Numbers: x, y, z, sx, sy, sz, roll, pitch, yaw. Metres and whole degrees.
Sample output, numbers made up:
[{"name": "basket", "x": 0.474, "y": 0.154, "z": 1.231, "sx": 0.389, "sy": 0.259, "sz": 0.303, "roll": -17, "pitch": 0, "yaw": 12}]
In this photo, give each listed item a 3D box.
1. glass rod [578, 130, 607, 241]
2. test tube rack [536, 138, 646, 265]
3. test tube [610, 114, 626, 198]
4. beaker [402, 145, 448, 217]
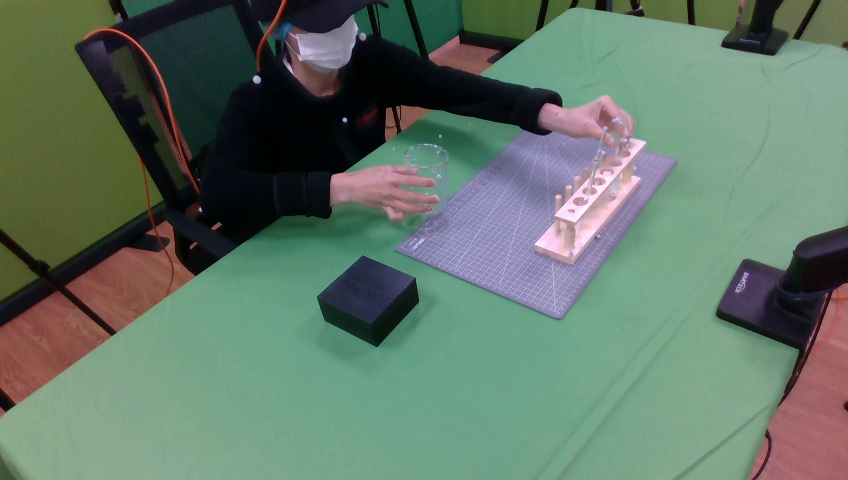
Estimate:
[{"name": "glass rod", "x": 0.240, "y": -0.072, "z": 0.866, "sx": 0.008, "sy": 0.200, "sz": 0.008, "roll": 0, "pitch": 44, "yaw": 1}, {"name": "test tube rack", "x": 0.268, "y": -0.071, "z": 0.964, "sx": 0.066, "sy": 0.085, "sz": 0.243, "roll": 23, "pitch": 49, "yaw": 32}, {"name": "test tube", "x": 0.304, "y": -0.128, "z": 0.948, "sx": 0.017, "sy": 0.151, "sz": 0.017, "roll": -6, "pitch": 40, "yaw": 5}, {"name": "beaker", "x": 0.004, "y": -0.096, "z": 0.994, "sx": 0.073, "sy": 0.100, "sz": 0.084, "roll": 25, "pitch": 44, "yaw": 28}]
